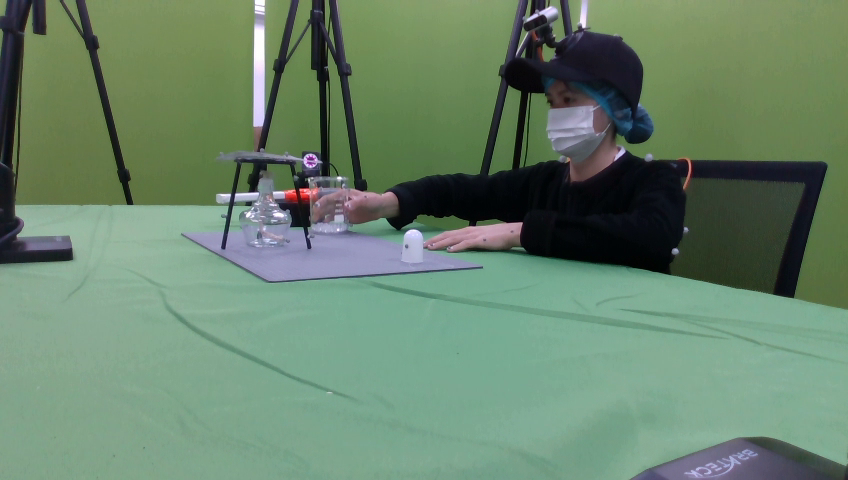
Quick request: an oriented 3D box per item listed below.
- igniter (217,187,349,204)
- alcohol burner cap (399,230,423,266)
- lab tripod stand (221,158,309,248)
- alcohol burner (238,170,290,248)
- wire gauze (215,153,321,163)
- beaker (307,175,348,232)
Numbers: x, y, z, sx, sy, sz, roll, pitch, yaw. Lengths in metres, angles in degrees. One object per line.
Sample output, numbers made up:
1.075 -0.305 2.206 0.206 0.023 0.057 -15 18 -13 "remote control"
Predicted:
-0.285 -0.093 1.256 0.278 0.025 0.057 -6 12 -34 "igniter"
-0.017 0.010 0.837 0.034 0.048 0.034 3 7 0 "alcohol burner cap"
-0.244 -0.057 0.917 0.148 0.131 0.148 1 7 0 "lab tripod stand"
-0.244 -0.048 0.927 0.078 0.119 0.078 3 5 0 "alcohol burner"
-0.235 -0.123 0.906 0.126 0.011 0.121 -2 7 -33 "wire gauze"
-0.176 -0.067 1.102 0.073 0.100 0.084 6 11 38 "beaker"
